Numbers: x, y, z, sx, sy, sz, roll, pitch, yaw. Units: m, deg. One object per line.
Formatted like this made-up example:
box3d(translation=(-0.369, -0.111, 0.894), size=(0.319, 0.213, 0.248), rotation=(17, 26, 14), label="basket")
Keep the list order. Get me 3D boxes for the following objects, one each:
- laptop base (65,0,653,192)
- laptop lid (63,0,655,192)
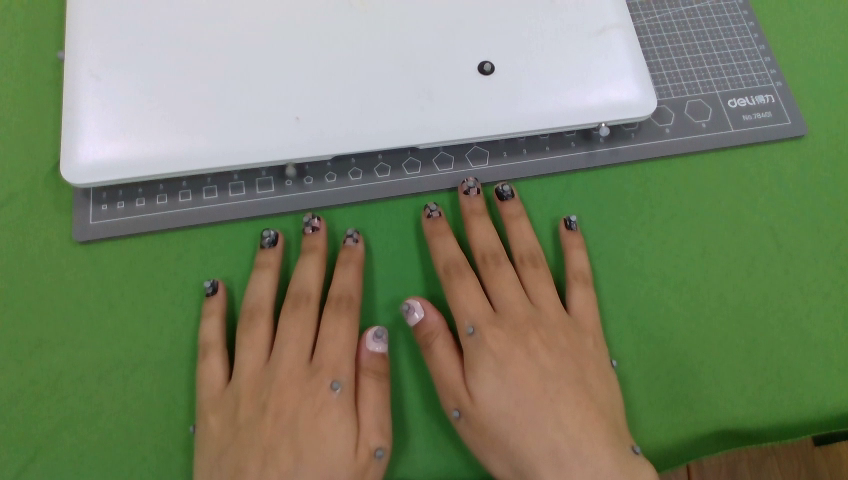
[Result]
box3d(translation=(-0.048, -0.156, 0.402), size=(0.355, 0.023, 0.234), rotation=(-8, 72, -6), label="laptop base")
box3d(translation=(-0.047, -0.158, 0.390), size=(0.357, 0.013, 0.240), rotation=(-7, 71, -5), label="laptop lid")
